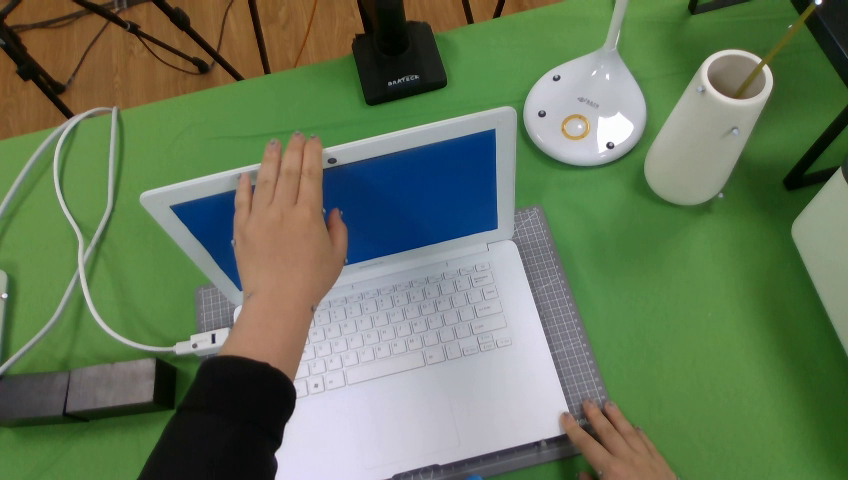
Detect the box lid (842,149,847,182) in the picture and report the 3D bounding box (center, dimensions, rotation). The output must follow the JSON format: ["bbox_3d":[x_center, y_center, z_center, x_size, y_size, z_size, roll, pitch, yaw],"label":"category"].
[{"bbox_3d":[0.565,0.042,0.528,0.263,0.015,0.368,-11,66,-1],"label":"box lid"}]

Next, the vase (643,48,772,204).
[{"bbox_3d":[0.314,-0.123,0.683,0.098,0.201,0.097,-2,65,6],"label":"vase"}]

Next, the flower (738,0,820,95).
[{"bbox_3d":[0.326,-0.160,0.608,0.038,0.364,0.043,2,56,-12],"label":"flower"}]

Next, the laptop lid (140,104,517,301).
[{"bbox_3d":[-0.074,-0.025,0.641,0.357,0.244,0.013,-14,59,0],"label":"laptop lid"}]

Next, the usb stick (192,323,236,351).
[{"bbox_3d":[-0.239,0.112,0.711,0.059,0.027,0.021,-10,66,-5],"label":"usb stick"}]

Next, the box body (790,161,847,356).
[{"bbox_3d":[0.572,0.074,0.596,0.254,0.161,0.361,-12,66,0],"label":"box body"}]

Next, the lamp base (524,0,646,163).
[{"bbox_3d":[0.211,-0.215,0.742,0.160,0.181,0.178,18,66,12],"label":"lamp base"}]

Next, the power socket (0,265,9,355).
[{"bbox_3d":[-0.558,0.127,0.739,0.072,0.033,0.225,-11,66,-1],"label":"power socket"}]

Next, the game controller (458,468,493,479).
[{"bbox_3d":[0.025,0.301,0.608,0.155,0.052,0.096,-27,63,-8],"label":"game controller"}]

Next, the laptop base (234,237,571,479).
[{"bbox_3d":[-0.034,0.139,0.697,0.354,0.023,0.233,-14,69,-1],"label":"laptop base"}]
